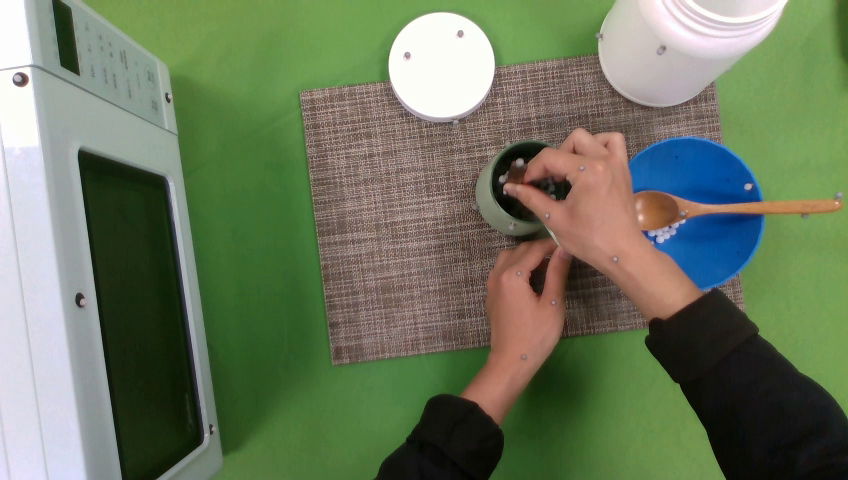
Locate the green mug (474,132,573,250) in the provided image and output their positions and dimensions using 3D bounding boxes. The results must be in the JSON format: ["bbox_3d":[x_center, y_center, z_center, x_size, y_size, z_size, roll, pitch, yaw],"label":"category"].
[{"bbox_3d":[0.108,-0.045,0.607,0.092,0.105,0.125,-35,89,0],"label":"green mug"}]

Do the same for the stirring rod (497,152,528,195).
[{"bbox_3d":[0.080,-0.059,0.564,0.014,0.176,0.006,13,86,4],"label":"stirring rod"}]

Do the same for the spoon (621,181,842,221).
[{"bbox_3d":[0.294,-0.040,0.590,0.193,0.022,0.041,0,93,24],"label":"spoon"}]

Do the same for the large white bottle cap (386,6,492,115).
[{"bbox_3d":[0.016,-0.193,0.652,0.115,0.018,0.114,0,89,0],"label":"large white bottle cap"}]

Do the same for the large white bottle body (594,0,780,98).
[{"bbox_3d":[0.244,-0.223,0.567,0.130,0.185,0.130,0,85,1],"label":"large white bottle body"}]

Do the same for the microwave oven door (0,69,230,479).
[{"bbox_3d":[-0.252,0.060,0.527,0.039,0.244,0.355,-9,89,1],"label":"microwave oven door"}]

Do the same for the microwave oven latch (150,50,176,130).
[{"bbox_3d":[-0.282,-0.154,0.630,0.030,0.029,0.079,-10,90,0],"label":"microwave oven latch"}]

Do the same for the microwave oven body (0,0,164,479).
[{"bbox_3d":[-0.404,0.042,0.534,0.326,0.260,0.441,-9,90,0],"label":"microwave oven body"}]

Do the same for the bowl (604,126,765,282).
[{"bbox_3d":[0.251,-0.033,0.618,0.151,0.077,0.151,0,89,1],"label":"bowl"}]
